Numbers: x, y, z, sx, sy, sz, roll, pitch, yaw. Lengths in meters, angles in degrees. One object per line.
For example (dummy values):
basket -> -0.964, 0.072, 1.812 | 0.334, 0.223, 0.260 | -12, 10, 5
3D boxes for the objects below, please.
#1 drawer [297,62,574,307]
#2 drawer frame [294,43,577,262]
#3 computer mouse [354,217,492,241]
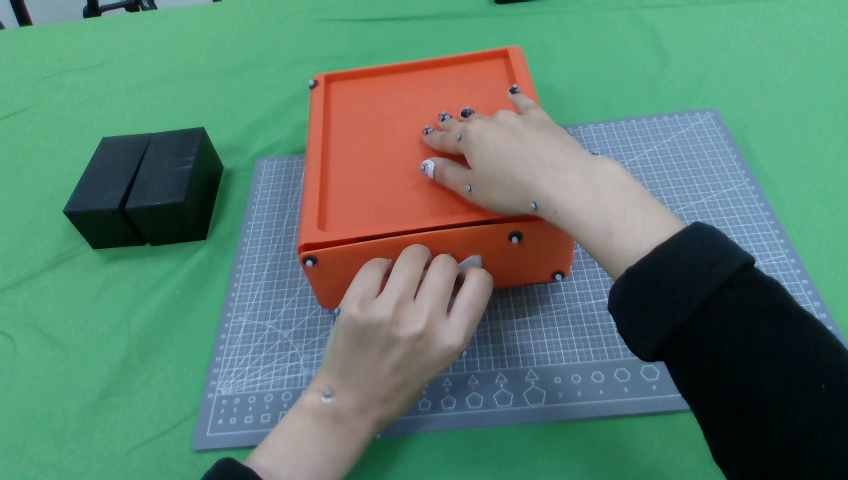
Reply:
drawer -> 0.004, -0.055, 0.506 | 0.194, 0.074, 0.209 | -8, 48, 3
drawer frame -> 0.003, -0.063, 0.511 | 0.202, 0.083, 0.211 | -9, 48, 2
computer mouse -> -0.003, -0.025, 0.499 | 0.117, 0.041, 0.062 | -9, 50, 8
